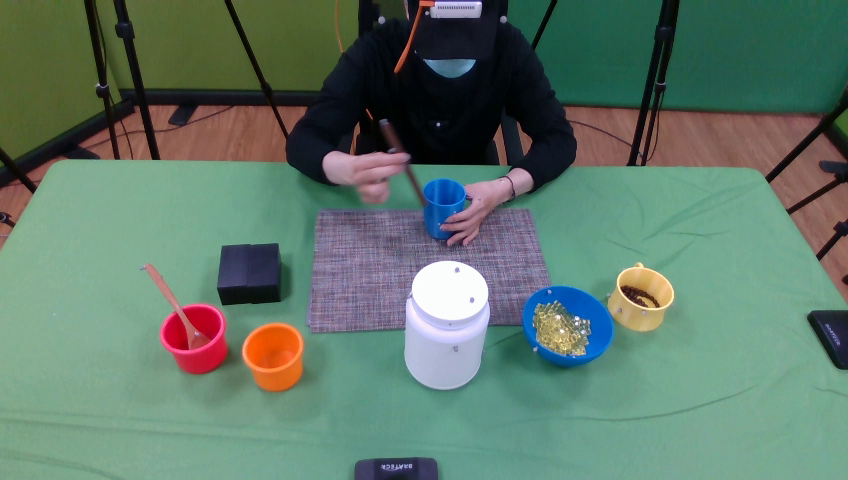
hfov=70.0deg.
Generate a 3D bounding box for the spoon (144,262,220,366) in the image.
[{"bbox_3d":[-0.389,0.118,0.971,0.041,0.021,0.194,-34,101,-33],"label":"spoon"}]

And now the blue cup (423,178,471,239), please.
[{"bbox_3d":[0.036,-0.057,1.194,0.093,0.101,0.092,3,45,-3],"label":"blue cup"}]

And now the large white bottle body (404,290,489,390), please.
[{"bbox_3d":[0.034,0.136,0.955,0.131,0.185,0.130,2,46,-2],"label":"large white bottle body"}]

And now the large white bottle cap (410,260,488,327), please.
[{"bbox_3d":[0.037,0.077,0.893,0.115,0.018,0.114,2,47,-2],"label":"large white bottle cap"}]

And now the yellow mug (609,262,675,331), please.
[{"bbox_3d":[0.393,0.094,1.103,0.100,0.064,0.130,7,45,4],"label":"yellow mug"}]

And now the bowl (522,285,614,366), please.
[{"bbox_3d":[0.235,0.158,1.022,0.151,0.077,0.150,2,46,-2],"label":"bowl"}]

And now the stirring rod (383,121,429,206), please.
[{"bbox_3d":[-0.029,-0.125,1.013,0.014,0.177,0.006,-24,37,4],"label":"stirring rod"}]
